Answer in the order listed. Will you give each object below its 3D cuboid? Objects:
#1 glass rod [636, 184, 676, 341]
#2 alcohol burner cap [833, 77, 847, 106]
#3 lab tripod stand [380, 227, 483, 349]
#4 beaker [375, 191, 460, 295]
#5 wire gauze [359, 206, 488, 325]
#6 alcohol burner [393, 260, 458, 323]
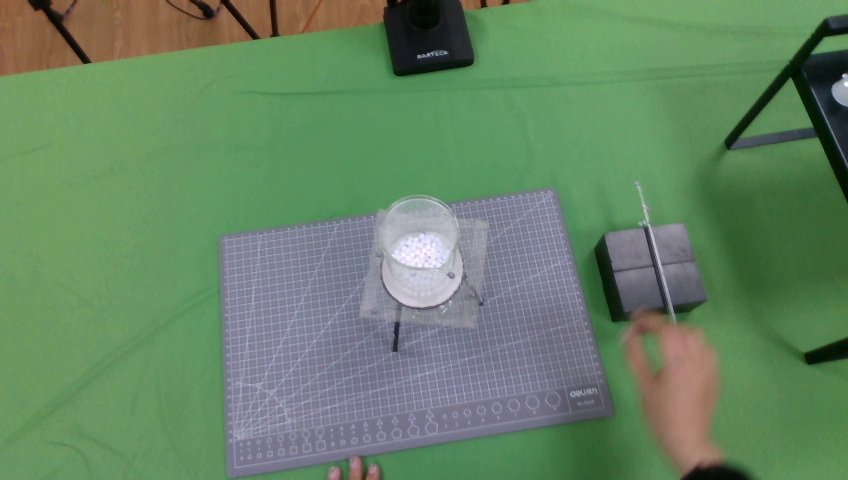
[{"bbox_3d":[0.277,0.022,0.725,0.008,0.008,0.198,-5,70,-2],"label":"glass rod"},{"bbox_3d":[0.460,-0.166,0.636,0.034,0.048,0.033,0,68,0],"label":"alcohol burner cap"},{"bbox_3d":[-0.004,0.048,0.697,0.148,0.132,0.147,-1,69,2],"label":"lab tripod stand"},{"bbox_3d":[-0.002,0.010,0.589,0.074,0.101,0.083,-35,73,-12],"label":"beaker"},{"bbox_3d":[0.002,0.025,0.635,0.121,0.011,0.124,8,67,2],"label":"wire gauze"},{"bbox_3d":[0.001,0.055,0.704,0.078,0.120,0.077,-1,70,2],"label":"alcohol burner"}]
